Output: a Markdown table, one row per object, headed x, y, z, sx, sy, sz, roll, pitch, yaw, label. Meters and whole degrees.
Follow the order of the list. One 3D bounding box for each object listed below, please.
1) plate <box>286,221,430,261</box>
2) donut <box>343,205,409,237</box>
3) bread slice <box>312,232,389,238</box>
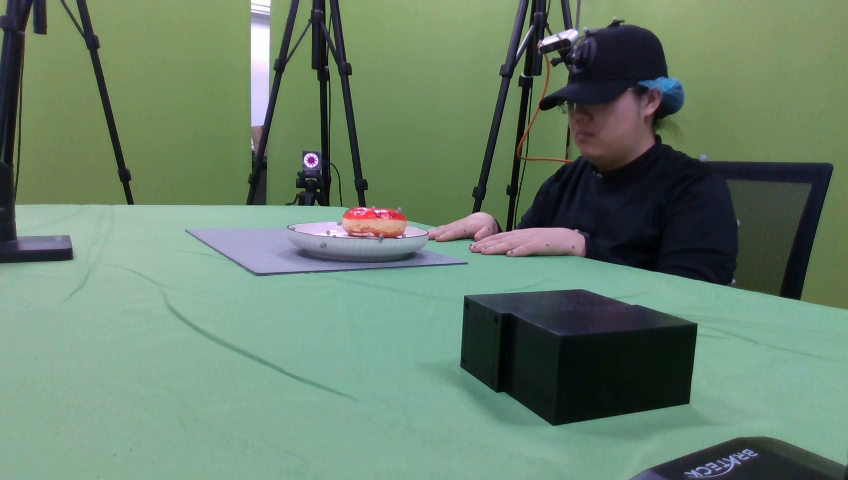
| x | y | z | sx | sy | sz | roll | pitch | yaw | label |
| --- | --- | --- | --- | --- | --- | --- | --- | --- | --- |
| -0.095 | 0.001 | 0.886 | 0.209 | 0.038 | 0.209 | 2 | 7 | 0 | plate |
| -0.071 | -0.027 | 0.894 | 0.099 | 0.048 | 0.099 | 4 | 3 | 0 | donut |
| -0.101 | 0.002 | 0.885 | 0.135 | 0.018 | 0.106 | -3 | 7 | -38 | bread slice |
